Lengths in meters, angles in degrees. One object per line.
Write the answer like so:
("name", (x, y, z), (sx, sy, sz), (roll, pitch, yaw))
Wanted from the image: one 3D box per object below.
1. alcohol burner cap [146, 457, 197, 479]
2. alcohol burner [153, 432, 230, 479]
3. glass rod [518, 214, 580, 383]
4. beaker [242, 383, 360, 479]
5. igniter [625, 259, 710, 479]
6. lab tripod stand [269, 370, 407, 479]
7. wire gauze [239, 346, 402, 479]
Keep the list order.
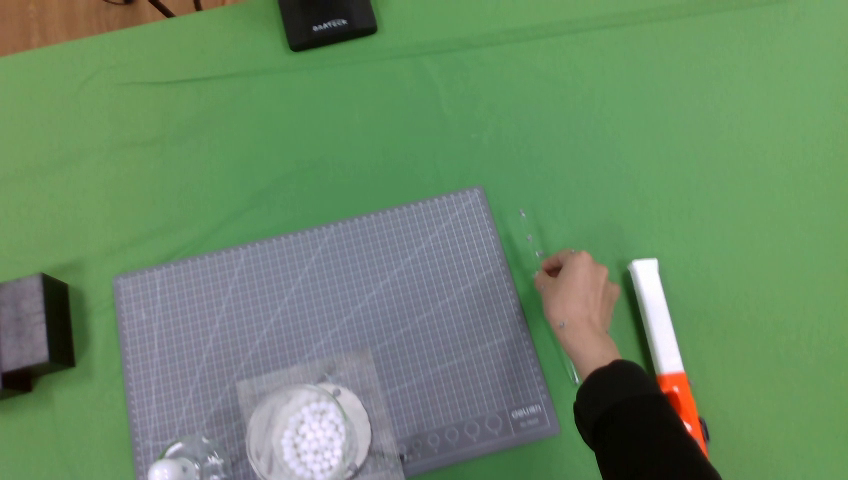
("alcohol burner cap", (-0.235, 0.216, 0.557), (0.034, 0.048, 0.033), (-1, 67, 3))
("alcohol burner", (-0.235, 0.227, 0.591), (0.078, 0.120, 0.077), (0, 69, 1))
("glass rod", (0.140, 0.064, 0.681), (0.008, 0.008, 0.199), (-17, 81, -5))
("beaker", (-0.089, 0.159, 0.481), (0.083, 0.101, 0.074), (41, 76, 14))
("igniter", (0.265, 0.155, 0.658), (0.057, 0.025, 0.274), (-4, 72, -12))
("lab tripod stand", (-0.092, 0.190, 0.591), (0.148, 0.132, 0.147), (-1, 71, 3))
("wire gauze", (-0.093, 0.166, 0.530), (0.125, 0.011, 0.120), (-15, 70, -2))
